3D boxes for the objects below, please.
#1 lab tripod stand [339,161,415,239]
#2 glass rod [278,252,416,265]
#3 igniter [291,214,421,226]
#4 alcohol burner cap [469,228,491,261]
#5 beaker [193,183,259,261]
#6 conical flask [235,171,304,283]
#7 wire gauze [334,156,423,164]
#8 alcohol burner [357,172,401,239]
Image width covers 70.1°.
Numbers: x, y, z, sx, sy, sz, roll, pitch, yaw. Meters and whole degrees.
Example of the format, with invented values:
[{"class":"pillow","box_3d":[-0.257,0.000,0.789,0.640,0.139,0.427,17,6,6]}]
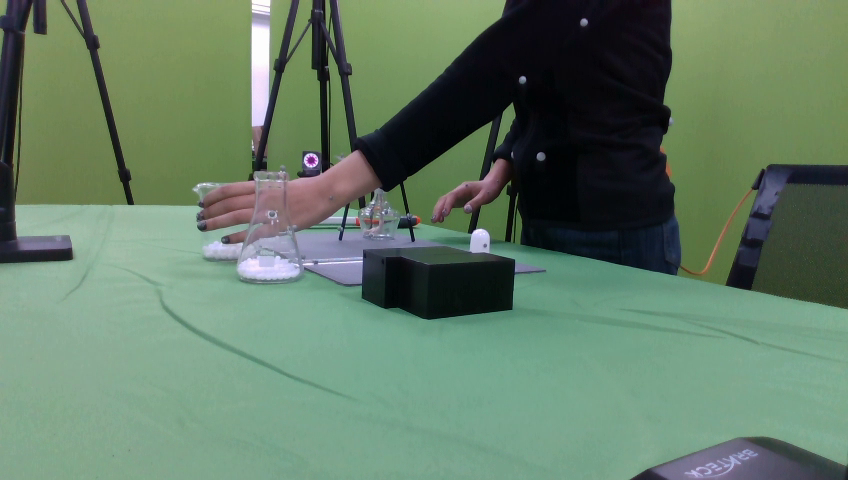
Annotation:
[{"class":"lab tripod stand","box_3d":[-0.082,-0.070,1.059,0.148,0.131,0.148,4,6,0]},{"class":"glass rod","box_3d":[-0.097,0.024,0.805,0.201,0.008,0.008,-3,8,-32]},{"class":"igniter","box_3d":[-0.135,-0.041,1.250,0.278,0.025,0.057,-1,-3,-28]},{"class":"alcohol burner cap","box_3d":[0.082,0.006,0.878,0.034,0.048,0.034,3,6,0]},{"class":"beaker","box_3d":[-0.263,-0.025,0.806,0.084,0.100,0.073,-4,9,-33]},{"class":"conical flask","box_3d":[-0.172,-0.016,0.677,0.075,0.122,0.075,2,7,0]},{"class":"wire gauze","box_3d":[-0.081,-0.137,1.051,0.122,0.011,0.124,0,8,-30]},{"class":"alcohol burner","box_3d":[-0.078,-0.061,1.065,0.078,0.119,0.078,4,9,0]}]
